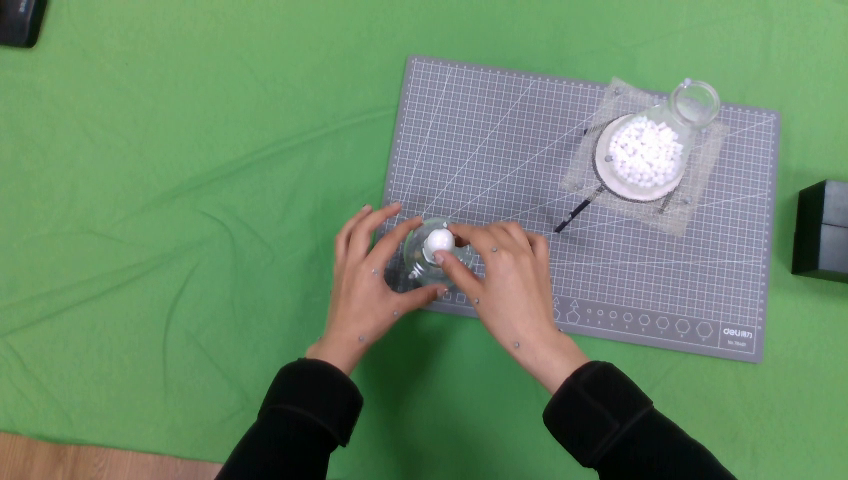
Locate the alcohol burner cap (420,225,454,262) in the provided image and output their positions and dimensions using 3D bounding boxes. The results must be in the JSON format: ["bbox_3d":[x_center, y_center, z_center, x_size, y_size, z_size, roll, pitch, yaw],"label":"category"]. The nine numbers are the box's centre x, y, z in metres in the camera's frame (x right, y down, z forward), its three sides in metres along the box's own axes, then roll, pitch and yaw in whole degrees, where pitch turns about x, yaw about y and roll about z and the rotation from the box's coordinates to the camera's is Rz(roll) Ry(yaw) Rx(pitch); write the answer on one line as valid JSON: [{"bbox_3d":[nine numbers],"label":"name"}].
[{"bbox_3d":[0.014,0.002,0.601,0.034,0.048,0.033,1,78,-5],"label":"alcohol burner cap"}]

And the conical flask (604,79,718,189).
[{"bbox_3d":[0.206,-0.094,0.518,0.075,0.122,0.075,0,80,1],"label":"conical flask"}]

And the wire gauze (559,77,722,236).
[{"bbox_3d":[0.208,-0.080,0.575,0.121,0.011,0.125,26,79,3],"label":"wire gauze"}]

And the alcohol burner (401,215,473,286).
[{"bbox_3d":[0.014,0.009,0.637,0.078,0.119,0.077,0,83,0],"label":"alcohol burner"}]

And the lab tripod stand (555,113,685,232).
[{"bbox_3d":[0.203,-0.072,0.641,0.148,0.132,0.148,0,80,2],"label":"lab tripod stand"}]
